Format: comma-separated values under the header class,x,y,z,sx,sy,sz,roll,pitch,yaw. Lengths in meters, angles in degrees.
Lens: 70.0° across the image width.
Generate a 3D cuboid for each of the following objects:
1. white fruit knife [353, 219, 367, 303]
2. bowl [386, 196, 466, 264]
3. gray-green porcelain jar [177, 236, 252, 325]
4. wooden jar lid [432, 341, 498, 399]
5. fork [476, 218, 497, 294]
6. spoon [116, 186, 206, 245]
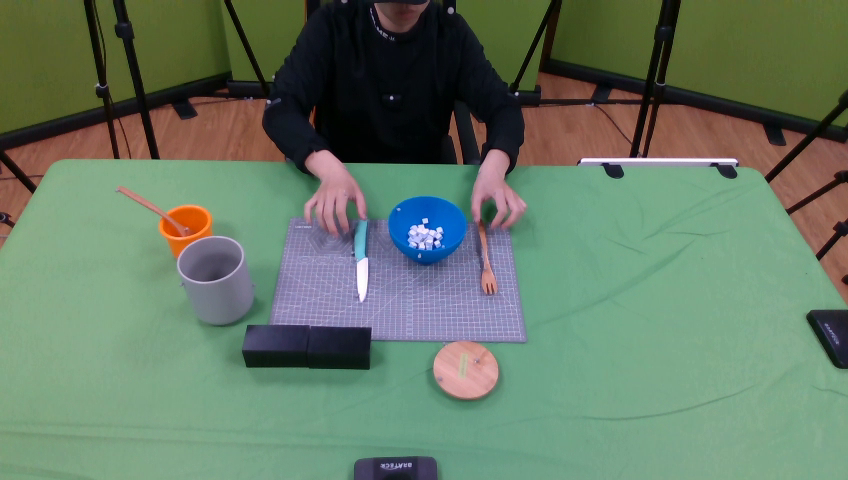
class,x,y,z,sx,sy,sz,roll,pitch,yaw
white fruit knife,-0.122,0.036,1.153,0.027,0.016,0.206,-11,47,5
bowl,0.002,-0.007,1.162,0.151,0.077,0.150,3,46,-2
gray-green porcelain jar,-0.350,0.073,1.027,0.106,0.127,0.105,3,46,-3
wooden jar lid,0.067,0.216,0.997,0.108,0.021,0.107,1,46,-1
fork,0.118,0.027,1.179,0.028,0.019,0.206,-4,48,1
spoon,-0.474,-0.041,1.112,0.021,0.195,0.041,-30,32,30
